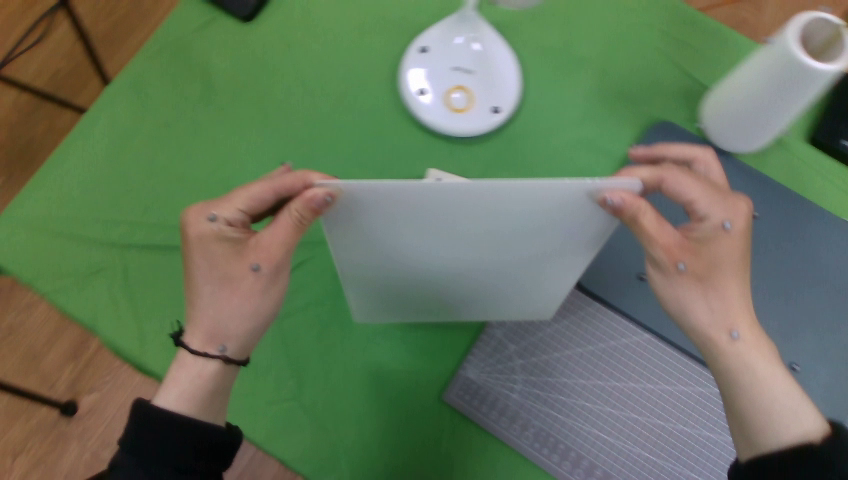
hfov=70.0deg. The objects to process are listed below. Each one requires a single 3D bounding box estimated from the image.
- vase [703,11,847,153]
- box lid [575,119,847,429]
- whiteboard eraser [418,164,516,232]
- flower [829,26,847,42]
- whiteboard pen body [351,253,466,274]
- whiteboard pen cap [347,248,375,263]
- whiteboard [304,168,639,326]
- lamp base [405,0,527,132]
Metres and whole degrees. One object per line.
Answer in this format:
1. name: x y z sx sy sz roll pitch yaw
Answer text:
1. vase: 0.416 -0.178 0.711 0.098 0.201 0.097 1 75 -3
2. box lid: 0.395 0.033 0.755 0.371 0.015 0.262 32 77 6
3. whiteboard eraser: 0.054 -0.051 0.747 0.112 0.042 0.055 17 78 2
4. flower: 0.431 -0.208 0.634 0.038 0.363 0.043 -11 70 -21
5. whiteboard pen body: -0.019 0.027 0.738 0.141 0.017 0.017 6 76 1
6. whiteboard pen cap: -0.076 0.018 0.737 0.033 0.018 0.018 6 76 2
7. whiteboard: 0.030 -0.036 0.548 0.217 0.307 0.142 0 65 -1
8. lamp base: 0.058 -0.247 0.723 0.161 0.181 0.178 3 74 -1
